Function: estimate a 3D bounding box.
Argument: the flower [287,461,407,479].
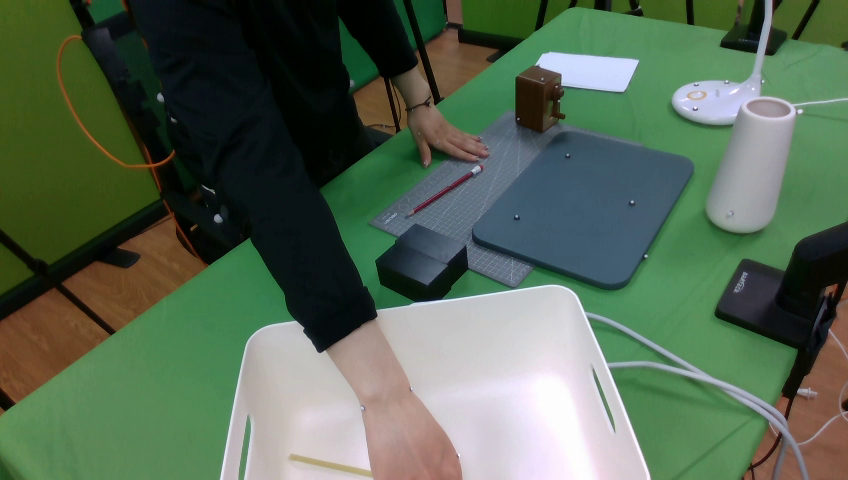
[{"bbox_3d":[0.015,0.268,0.651,0.360,0.038,0.044,3,28,16],"label":"flower"}]

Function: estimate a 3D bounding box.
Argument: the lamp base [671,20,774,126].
[{"bbox_3d":[0.581,-0.332,1.154,0.179,0.181,0.160,2,42,7],"label":"lamp base"}]

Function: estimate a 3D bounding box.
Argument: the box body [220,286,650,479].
[{"bbox_3d":[0.006,0.210,0.618,0.364,0.161,0.252,-8,40,-1],"label":"box body"}]

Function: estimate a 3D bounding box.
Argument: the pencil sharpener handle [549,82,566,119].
[{"bbox_3d":[0.261,-0.266,1.158,0.030,0.068,0.036,30,46,35],"label":"pencil sharpener handle"}]

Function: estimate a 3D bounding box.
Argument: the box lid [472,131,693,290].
[{"bbox_3d":[0.273,-0.068,1.020,0.261,0.015,0.372,20,47,28],"label":"box lid"}]

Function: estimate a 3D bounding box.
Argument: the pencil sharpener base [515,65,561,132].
[{"bbox_3d":[0.227,-0.278,1.195,0.076,0.107,0.061,30,53,35],"label":"pencil sharpener base"}]

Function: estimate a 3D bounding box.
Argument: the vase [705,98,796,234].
[{"bbox_3d":[0.480,-0.103,0.888,0.098,0.201,0.097,-4,42,4],"label":"vase"}]

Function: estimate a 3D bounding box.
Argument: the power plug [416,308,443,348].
[{"bbox_3d":[0.004,0.121,0.787,0.035,0.053,0.072,3,46,8],"label":"power plug"}]

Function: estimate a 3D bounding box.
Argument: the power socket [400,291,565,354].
[{"bbox_3d":[0.079,0.111,0.823,0.227,0.033,0.072,-5,41,1],"label":"power socket"}]

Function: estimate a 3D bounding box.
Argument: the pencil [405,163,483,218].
[{"bbox_3d":[0.038,-0.088,1.079,0.195,0.012,0.012,-36,48,-27],"label":"pencil"}]
